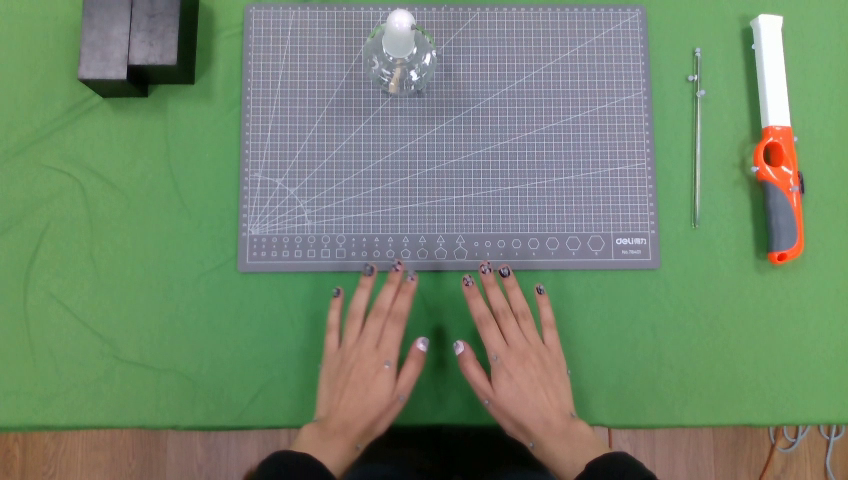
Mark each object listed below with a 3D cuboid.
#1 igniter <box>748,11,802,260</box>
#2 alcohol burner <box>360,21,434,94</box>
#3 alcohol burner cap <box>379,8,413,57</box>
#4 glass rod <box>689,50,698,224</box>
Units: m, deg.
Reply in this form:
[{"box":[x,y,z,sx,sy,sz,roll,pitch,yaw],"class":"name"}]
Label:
[{"box":[0.381,-0.116,0.661,0.057,0.025,0.275,1,83,-12],"class":"igniter"},{"box":[-0.027,-0.195,0.616,0.078,0.119,0.077,0,82,-3],"class":"alcohol burner"},{"box":[-0.025,-0.202,0.580,0.034,0.048,0.033,2,76,-9],"class":"alcohol burner cap"},{"box":[0.297,-0.116,0.669,0.008,0.008,0.199,4,83,-1],"class":"glass rod"}]
